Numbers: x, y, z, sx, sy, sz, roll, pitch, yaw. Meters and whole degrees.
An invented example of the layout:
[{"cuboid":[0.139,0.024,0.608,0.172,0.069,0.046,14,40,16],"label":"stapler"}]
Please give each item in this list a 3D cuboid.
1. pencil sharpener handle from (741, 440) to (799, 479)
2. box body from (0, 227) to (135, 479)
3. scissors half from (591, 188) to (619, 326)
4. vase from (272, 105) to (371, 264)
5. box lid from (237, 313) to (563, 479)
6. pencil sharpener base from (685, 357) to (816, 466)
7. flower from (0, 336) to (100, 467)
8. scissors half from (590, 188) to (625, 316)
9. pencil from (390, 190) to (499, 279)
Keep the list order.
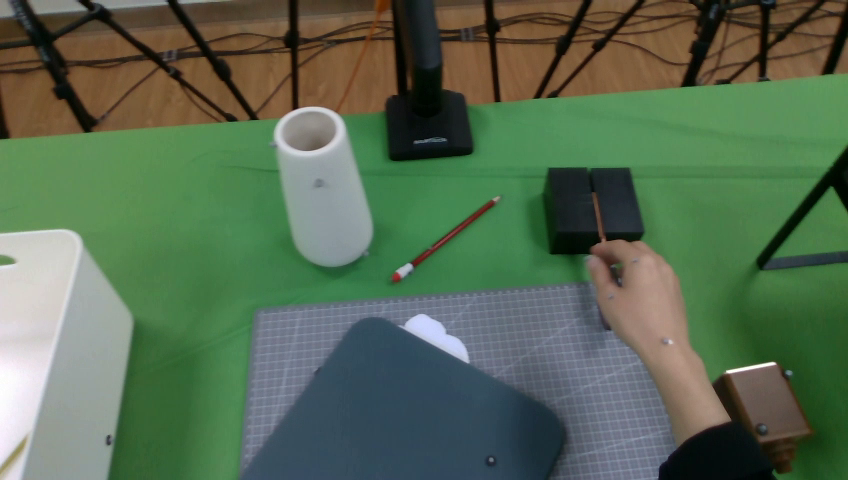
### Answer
[{"cuboid":[0.315,0.206,0.547,0.036,0.068,0.030,0,55,-17],"label":"pencil sharpener handle"},{"cuboid":[-0.432,0.187,0.547,0.254,0.162,0.360,-6,57,-3],"label":"box body"},{"cuboid":[0.207,0.017,0.711,0.013,0.040,0.174,0,69,-3],"label":"scissors half"},{"cuboid":[-0.116,-0.058,0.685,0.098,0.202,0.097,-1,55,2],"label":"vase"},{"cuboid":[-0.049,0.261,0.585,0.262,0.015,0.370,26,61,16],"label":"box lid"},{"cuboid":[0.311,0.171,0.585,0.061,0.108,0.076,-8,57,-5],"label":"pencil sharpener base"},{"cuboid":[-0.438,0.230,0.622,0.038,0.044,0.359,-15,32,20],"label":"flower"},{"cuboid":[0.206,0.007,0.693,0.013,0.040,0.173,-3,52,1],"label":"scissors half"},{"cuboid":[0.031,-0.011,0.767,0.194,0.012,0.012,-39,64,-24],"label":"pencil"}]
